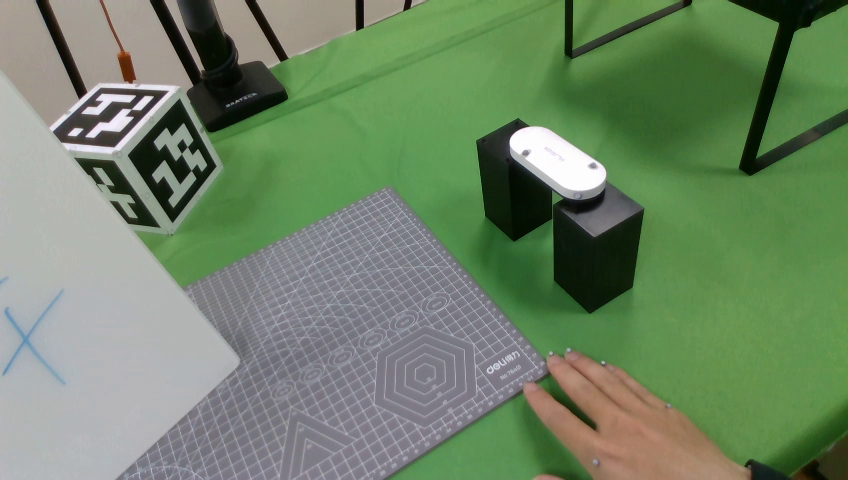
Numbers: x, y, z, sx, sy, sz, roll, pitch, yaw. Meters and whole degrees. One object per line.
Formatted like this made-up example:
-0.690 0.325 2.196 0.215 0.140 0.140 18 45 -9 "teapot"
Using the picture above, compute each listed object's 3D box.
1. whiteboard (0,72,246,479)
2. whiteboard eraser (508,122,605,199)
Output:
-0.337 0.053 0.479 0.142 0.308 0.217 13 50 48 "whiteboard"
0.110 -0.070 0.516 0.041 0.019 0.100 -30 50 -16 "whiteboard eraser"
